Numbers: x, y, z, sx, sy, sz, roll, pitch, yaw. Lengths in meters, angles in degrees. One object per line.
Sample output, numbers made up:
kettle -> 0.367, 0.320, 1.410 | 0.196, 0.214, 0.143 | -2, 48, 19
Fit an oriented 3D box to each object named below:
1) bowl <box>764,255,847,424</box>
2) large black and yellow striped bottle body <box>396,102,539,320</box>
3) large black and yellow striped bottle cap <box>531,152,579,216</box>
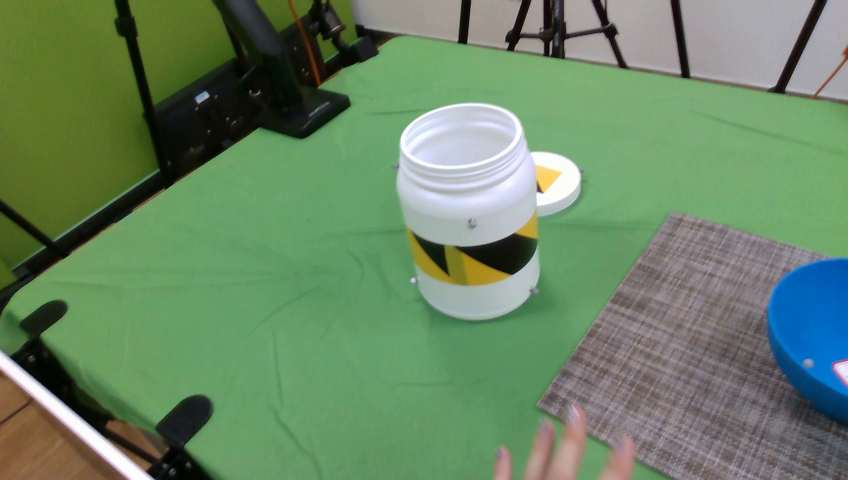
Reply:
bowl -> 0.339, 0.090, 0.466 | 0.151, 0.077, 0.150 | -6, 41, 6
large black and yellow striped bottle body -> 0.045, -0.027, 0.589 | 0.130, 0.186, 0.129 | -6, 41, 5
large black and yellow striped bottle cap -> 0.134, -0.072, 0.751 | 0.115, 0.019, 0.114 | -5, 42, 5
